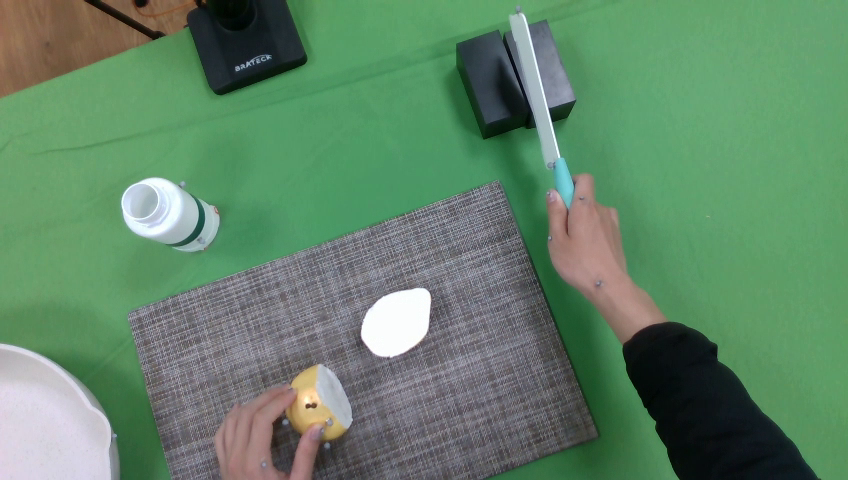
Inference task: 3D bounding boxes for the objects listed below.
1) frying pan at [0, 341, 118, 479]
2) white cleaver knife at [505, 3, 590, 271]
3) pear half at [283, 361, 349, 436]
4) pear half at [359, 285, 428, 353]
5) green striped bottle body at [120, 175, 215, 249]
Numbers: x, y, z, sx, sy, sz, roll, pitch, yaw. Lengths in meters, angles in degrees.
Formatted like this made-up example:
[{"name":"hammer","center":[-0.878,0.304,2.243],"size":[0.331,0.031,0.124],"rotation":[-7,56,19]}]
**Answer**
[{"name":"frying pan","center":[-0.414,0.340,0.600],"size":[0.307,0.103,0.484],"rotation":[-24,73,-1]},{"name":"white cleaver knife","center":[0.131,-0.103,0.639],"size":[0.021,0.065,0.287],"rotation":[-16,102,-1]},{"name":"pear half","center":[-0.117,0.165,0.612],"size":[0.056,0.110,0.076],"rotation":[-33,76,-3]},{"name":"pear half","center":[-0.028,0.087,0.659],"size":[0.088,0.031,0.070],"rotation":[-42,65,-16]},{"name":"green striped bottle body","center":[-0.275,-0.030,0.646],"size":[0.063,0.119,0.063],"rotation":[0,80,2]}]
